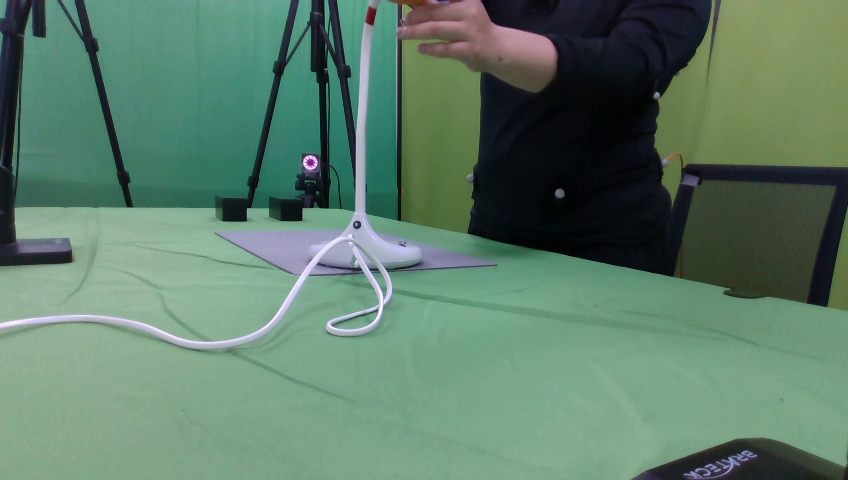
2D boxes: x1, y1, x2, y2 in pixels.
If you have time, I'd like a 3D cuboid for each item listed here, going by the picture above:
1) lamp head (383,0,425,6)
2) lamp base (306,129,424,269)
[{"bbox_3d":[-0.026,-0.326,0.672,0.112,0.123,0.112,4,3,0],"label":"lamp head"},{"bbox_3d":[-0.077,-0.057,0.810,0.161,0.180,0.179,2,10,-4],"label":"lamp base"}]
